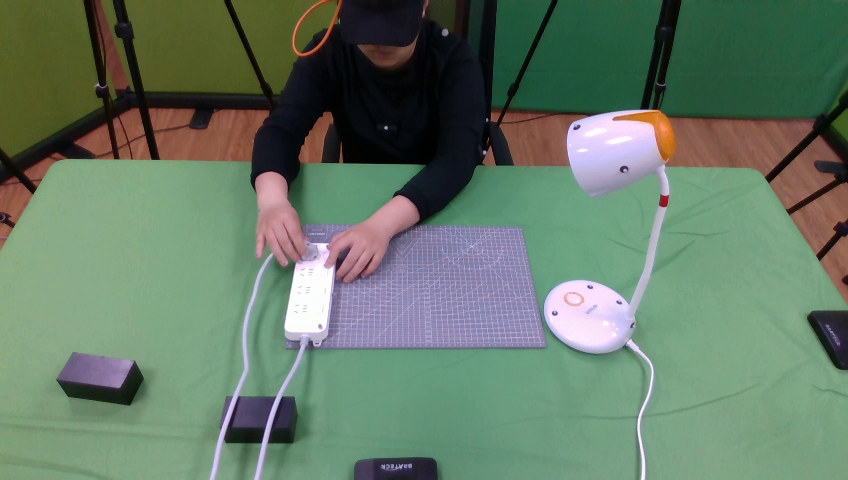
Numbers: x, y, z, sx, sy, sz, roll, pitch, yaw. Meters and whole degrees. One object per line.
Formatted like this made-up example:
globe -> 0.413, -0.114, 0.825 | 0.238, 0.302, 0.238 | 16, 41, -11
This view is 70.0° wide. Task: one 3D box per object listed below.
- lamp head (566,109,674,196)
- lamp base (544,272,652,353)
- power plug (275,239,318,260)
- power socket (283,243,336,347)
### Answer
lamp head -> 0.272, -0.123, 0.818 | 0.122, 0.113, 0.112 | -9, 35, 37
lamp base -> 0.309, 0.086, 1.029 | 0.178, 0.181, 0.160 | 32, 52, 21
power plug -> -0.232, 0.018, 1.120 | 0.072, 0.053, 0.035 | 10, 47, 6
power socket -> -0.202, 0.088, 1.086 | 0.072, 0.033, 0.225 | 1, 46, -2
